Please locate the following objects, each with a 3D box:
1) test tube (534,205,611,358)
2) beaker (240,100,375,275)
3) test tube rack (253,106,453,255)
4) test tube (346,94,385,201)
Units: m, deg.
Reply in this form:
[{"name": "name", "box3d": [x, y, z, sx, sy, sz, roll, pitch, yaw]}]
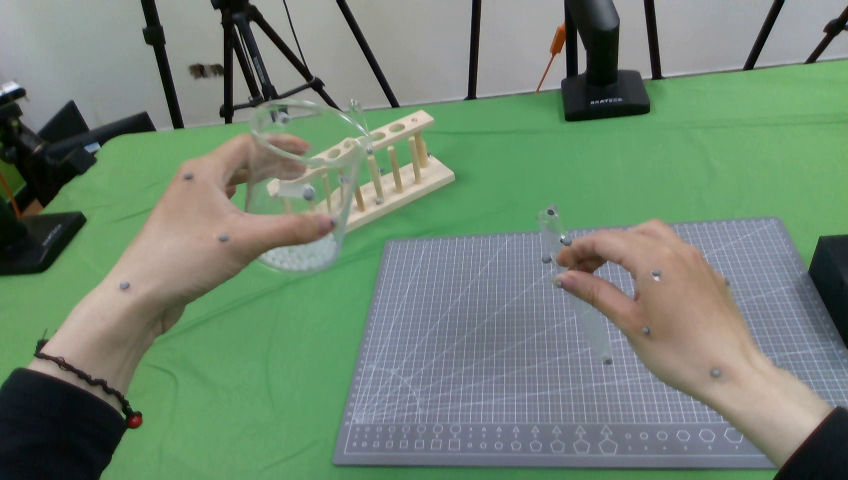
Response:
[{"name": "test tube", "box3d": [0.111, 0.036, 0.443, 0.017, 0.152, 0.017, -21, 33, 14]}, {"name": "beaker", "box3d": [-0.082, -0.033, 0.413, 0.084, 0.101, 0.073, -6, 45, -32]}, {"name": "test tube rack", "box3d": [-0.086, -0.081, 0.786, 0.242, 0.086, 0.066, -27, 43, -17]}, {"name": "test tube", "box3d": [-0.071, -0.111, 0.749, 0.017, 0.152, 0.017, -7, 40, 7]}]
